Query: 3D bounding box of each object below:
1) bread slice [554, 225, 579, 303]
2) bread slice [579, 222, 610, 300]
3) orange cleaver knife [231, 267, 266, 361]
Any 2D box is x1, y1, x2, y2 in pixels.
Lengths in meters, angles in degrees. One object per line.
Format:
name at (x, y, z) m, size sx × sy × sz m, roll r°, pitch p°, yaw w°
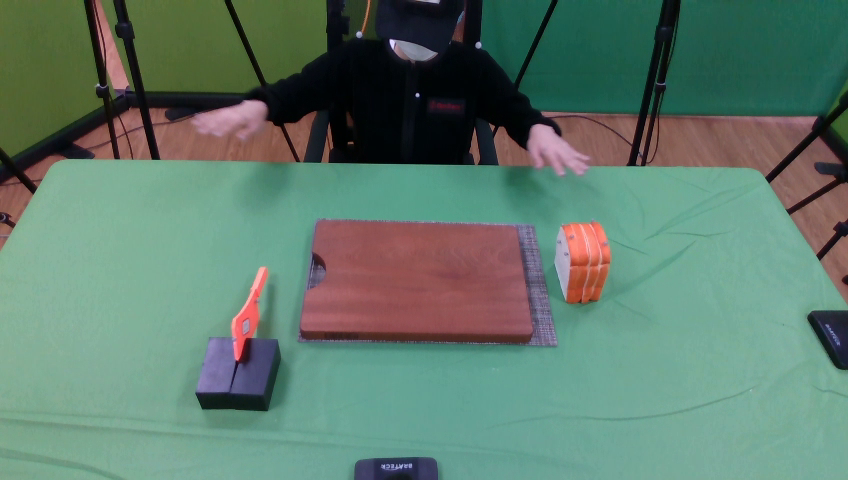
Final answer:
bread slice at (0.260, 0.036, 1.109) m, size 0.019 × 0.132 × 0.104 m, roll -6°, pitch 45°, yaw 1°
bread slice at (0.313, 0.035, 1.111) m, size 0.018 × 0.135 × 0.106 m, roll -7°, pitch 52°, yaw -2°
orange cleaver knife at (-0.292, 0.119, 1.019) m, size 0.012 × 0.077 × 0.210 m, roll -1°, pitch 27°, yaw 0°
